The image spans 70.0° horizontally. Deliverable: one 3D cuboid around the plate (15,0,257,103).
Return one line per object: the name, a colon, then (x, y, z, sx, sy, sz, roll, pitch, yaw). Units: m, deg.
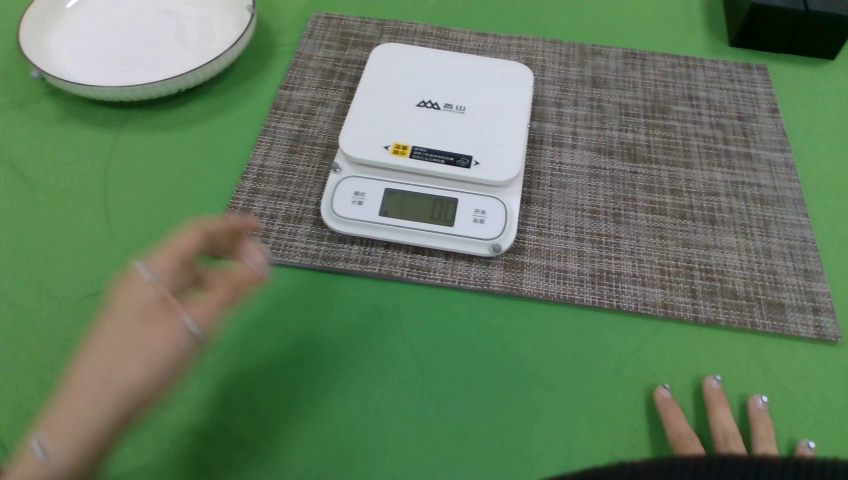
plate: (-0.258, -0.196, 0.564, 0.208, 0.039, 0.205, 1, 54, -2)

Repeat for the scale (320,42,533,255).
scale: (0.008, -0.082, 0.492, 0.148, 0.032, 0.199, 9, 55, 5)
